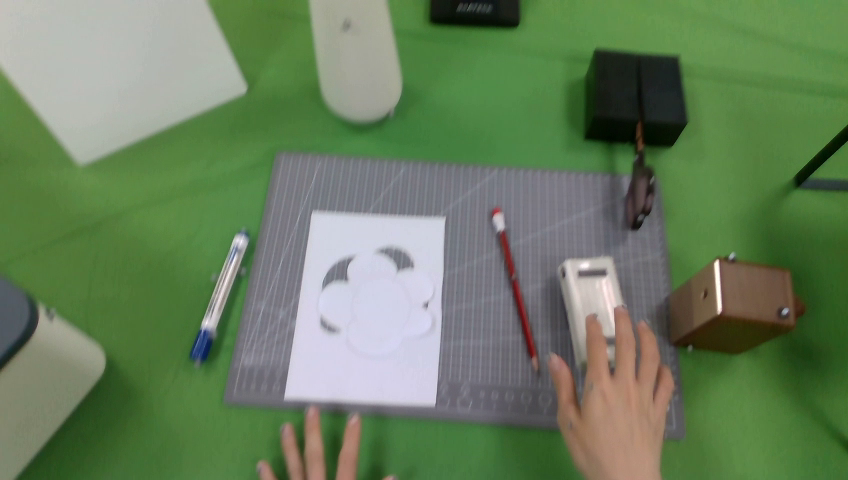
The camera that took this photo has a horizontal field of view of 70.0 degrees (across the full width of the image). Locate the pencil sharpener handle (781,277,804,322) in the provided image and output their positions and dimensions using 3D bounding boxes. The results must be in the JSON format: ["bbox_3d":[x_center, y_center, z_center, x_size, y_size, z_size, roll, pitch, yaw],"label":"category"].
[{"bbox_3d":[0.344,0.060,0.575,0.030,0.068,0.035,8,60,0],"label":"pencil sharpener handle"}]

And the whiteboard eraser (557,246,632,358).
[{"bbox_3d":[0.171,0.063,0.616,0.055,0.042,0.112,-4,67,-1],"label":"whiteboard eraser"}]

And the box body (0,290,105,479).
[{"bbox_3d":[-0.514,0.088,0.532,0.362,0.161,0.253,29,70,11],"label":"box body"}]

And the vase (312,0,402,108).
[{"bbox_3d":[-0.076,-0.235,0.659,0.098,0.201,0.097,0,65,1],"label":"vase"}]

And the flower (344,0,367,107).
[{"bbox_3d":[-0.082,-0.281,0.588,0.044,0.365,0.038,-2,48,2],"label":"flower"}]

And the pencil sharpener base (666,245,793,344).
[{"bbox_3d":[0.293,0.056,0.586,0.077,0.107,0.061,8,66,0],"label":"pencil sharpener base"}]

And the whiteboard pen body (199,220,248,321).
[{"bbox_3d":[-0.213,0.042,0.635,0.017,0.017,0.140,10,65,4],"label":"whiteboard pen body"}]

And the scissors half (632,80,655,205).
[{"bbox_3d":[0.239,-0.113,0.664,0.013,0.040,0.173,10,57,-1],"label":"scissors half"}]

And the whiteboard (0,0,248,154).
[{"bbox_3d":[-0.366,-0.290,0.655,0.217,0.308,0.142,-28,50,-12],"label":"whiteboard"}]

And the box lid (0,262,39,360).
[{"bbox_3d":[-0.515,0.057,0.465,0.370,0.015,0.262,30,69,11],"label":"box lid"}]

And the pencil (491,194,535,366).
[{"bbox_3d":[0.095,0.039,0.644,0.012,0.012,0.192,-9,69,-4],"label":"pencil"}]

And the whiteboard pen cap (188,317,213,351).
[{"bbox_3d":[-0.223,0.094,0.610,0.018,0.018,0.033,10,62,4],"label":"whiteboard pen cap"}]

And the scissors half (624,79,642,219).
[{"bbox_3d":[0.238,-0.105,0.683,0.013,0.040,0.174,8,75,4],"label":"scissors half"}]
